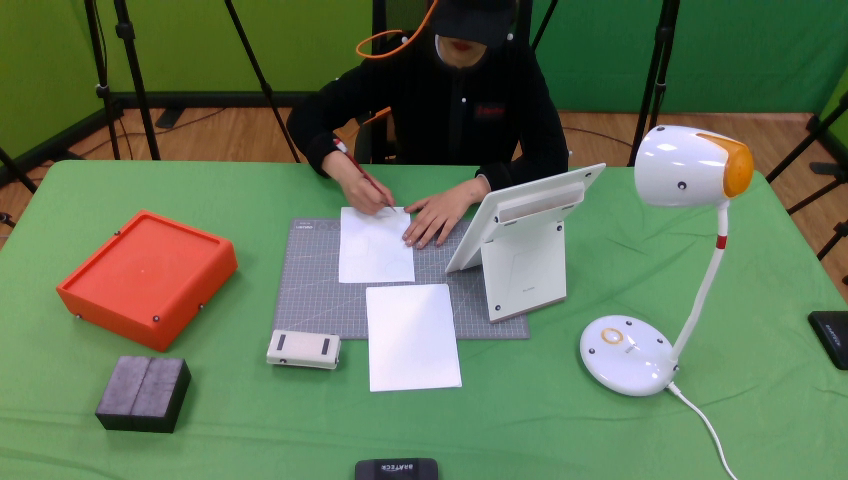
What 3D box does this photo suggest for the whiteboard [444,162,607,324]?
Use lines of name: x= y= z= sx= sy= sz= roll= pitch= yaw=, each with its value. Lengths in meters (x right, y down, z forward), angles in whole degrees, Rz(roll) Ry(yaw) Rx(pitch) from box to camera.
whiteboard: x=0.186 y=0.025 z=1.029 sx=0.217 sy=0.306 sz=0.143 roll=-15 pitch=68 yaw=-18

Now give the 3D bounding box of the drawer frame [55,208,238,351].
drawer frame: x=-0.474 y=0.062 z=1.060 sx=0.201 sy=0.083 sz=0.213 roll=18 pitch=48 yaw=12

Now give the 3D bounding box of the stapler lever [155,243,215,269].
stapler lever: x=-0.433 y=0.023 z=1.097 sx=0.118 sy=0.040 sz=0.026 roll=14 pitch=39 yaw=14

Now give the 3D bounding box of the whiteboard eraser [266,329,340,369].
whiteboard eraser: x=-0.198 y=0.181 z=0.994 sx=0.113 sy=0.042 sz=0.055 roll=5 pitch=45 yaw=1

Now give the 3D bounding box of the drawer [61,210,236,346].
drawer: x=-0.474 y=0.061 z=1.063 sx=0.194 sy=0.073 sz=0.211 roll=19 pitch=49 yaw=13

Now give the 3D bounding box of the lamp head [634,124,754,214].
lamp head: x=0.351 y=-0.089 z=0.776 sx=0.112 sy=0.113 sz=0.122 roll=-30 pitch=30 yaw=-28

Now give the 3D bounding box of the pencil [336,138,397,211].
pencil: x=-0.111 y=-0.127 z=1.209 sx=0.012 sy=0.195 sz=0.012 roll=-30 pitch=28 yaw=18

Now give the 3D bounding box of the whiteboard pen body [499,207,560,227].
whiteboard pen body: x=0.222 y=-0.051 z=1.260 sx=0.141 sy=0.017 sz=0.017 roll=-15 pitch=49 yaw=-16

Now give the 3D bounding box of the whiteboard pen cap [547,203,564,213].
whiteboard pen cap: x=0.277 y=-0.066 z=1.275 sx=0.033 sy=0.018 sz=0.018 roll=-18 pitch=50 yaw=-15

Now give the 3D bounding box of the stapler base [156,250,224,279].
stapler base: x=-0.431 y=0.040 z=1.111 sx=0.130 sy=0.024 sz=0.041 roll=11 pitch=38 yaw=17

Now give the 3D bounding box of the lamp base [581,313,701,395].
lamp base: x=0.361 y=0.144 z=0.973 sx=0.178 sy=0.181 sz=0.160 roll=34 pitch=53 yaw=23
